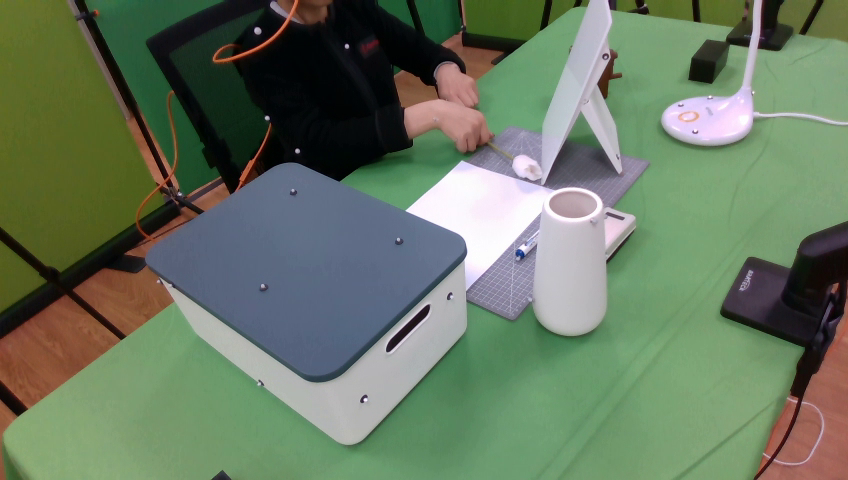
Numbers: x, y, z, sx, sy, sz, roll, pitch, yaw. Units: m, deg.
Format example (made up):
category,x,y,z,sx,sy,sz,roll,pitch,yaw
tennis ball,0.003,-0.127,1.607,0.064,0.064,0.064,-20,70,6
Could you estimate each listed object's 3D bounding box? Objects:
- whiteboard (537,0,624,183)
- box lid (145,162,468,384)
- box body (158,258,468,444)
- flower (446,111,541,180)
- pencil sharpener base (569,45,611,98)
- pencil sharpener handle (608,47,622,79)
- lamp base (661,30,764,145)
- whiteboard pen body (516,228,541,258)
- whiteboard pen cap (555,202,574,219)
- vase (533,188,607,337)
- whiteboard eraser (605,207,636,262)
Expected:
category,x,y,z,sx,sy,sz,roll,pitch,yaw
whiteboard,0.316,-0.256,1.047,0.144,0.306,0.216,15,42,-1
box lid,-0.157,0.014,0.769,0.368,0.015,0.264,25,51,33
box body,-0.147,0.072,0.816,0.361,0.161,0.255,24,50,33
flower,0.122,-0.202,1.202,0.044,0.038,0.358,15,20,-32
pencil sharpener base,0.346,-0.352,1.262,0.077,0.107,0.061,-10,40,-1
pencil sharpener handle,0.395,-0.369,1.254,0.031,0.068,0.036,-10,32,-1
lamp base,0.535,-0.287,1.096,0.179,0.181,0.159,-10,40,-4
whiteboard pen body,0.192,-0.015,0.964,0.017,0.017,0.141,26,51,34
whiteboard pen cap,0.230,-0.048,0.994,0.018,0.018,0.033,26,54,34
vase,0.187,0.033,0.771,0.098,0.201,0.097,-6,41,6
whiteboard eraser,0.272,-0.003,0.919,0.055,0.042,0.113,27,51,32
